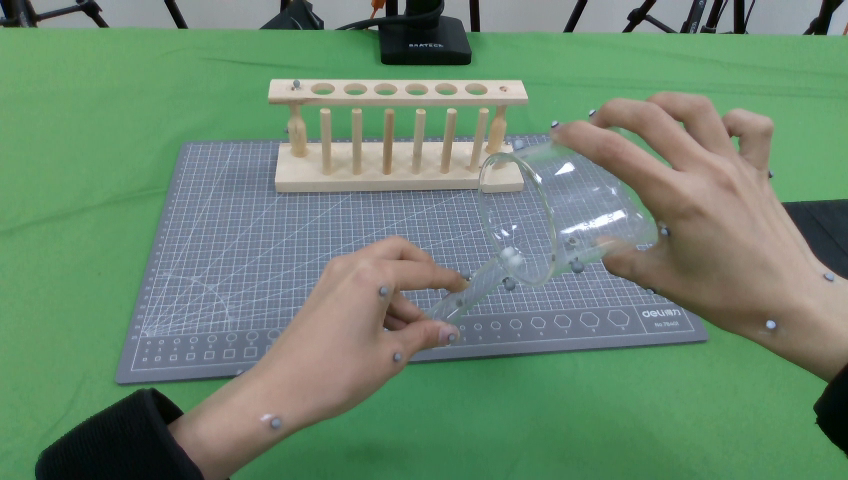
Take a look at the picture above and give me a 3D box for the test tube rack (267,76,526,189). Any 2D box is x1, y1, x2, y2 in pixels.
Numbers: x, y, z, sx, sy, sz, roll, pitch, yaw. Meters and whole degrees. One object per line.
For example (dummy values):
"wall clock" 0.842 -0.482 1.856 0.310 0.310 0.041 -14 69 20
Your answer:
"test tube rack" -0.025 -0.105 0.592 0.243 0.086 0.066 -2 44 -6

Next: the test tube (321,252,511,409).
"test tube" -0.008 0.058 0.371 0.150 0.017 0.017 -40 46 15

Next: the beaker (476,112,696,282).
"beaker" 0.090 -0.025 0.337 0.100 0.084 0.073 -19 60 -19
